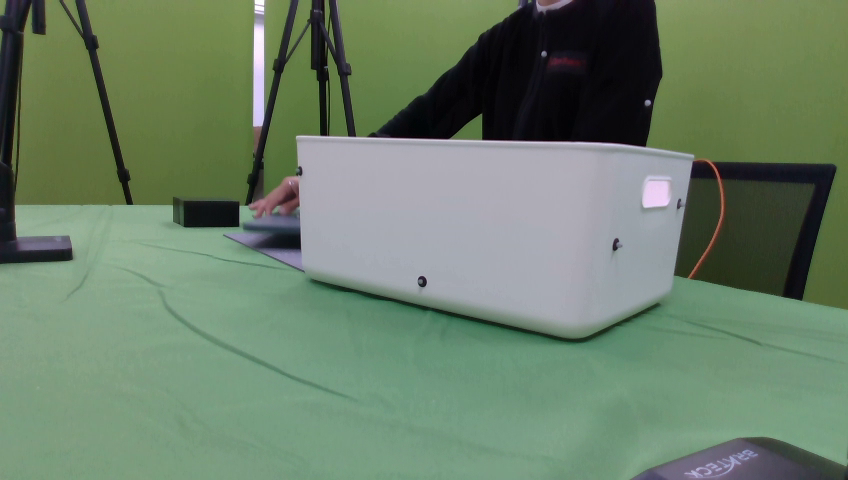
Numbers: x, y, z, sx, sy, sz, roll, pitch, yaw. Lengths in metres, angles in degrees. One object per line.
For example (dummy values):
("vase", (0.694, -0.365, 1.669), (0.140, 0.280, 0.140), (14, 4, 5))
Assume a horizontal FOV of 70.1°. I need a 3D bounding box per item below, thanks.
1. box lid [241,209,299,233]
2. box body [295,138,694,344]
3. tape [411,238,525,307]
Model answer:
("box lid", (-0.150, -0.032, 1.065), (0.264, 0.015, 0.371), (3, 6, -3))
("box body", (0.065, -0.020, 0.653), (0.362, 0.160, 0.255), (9, 9, 36))
("tape", (0.044, 0.031, 0.629), (0.117, 0.052, 0.117), (3, 8, 0))
